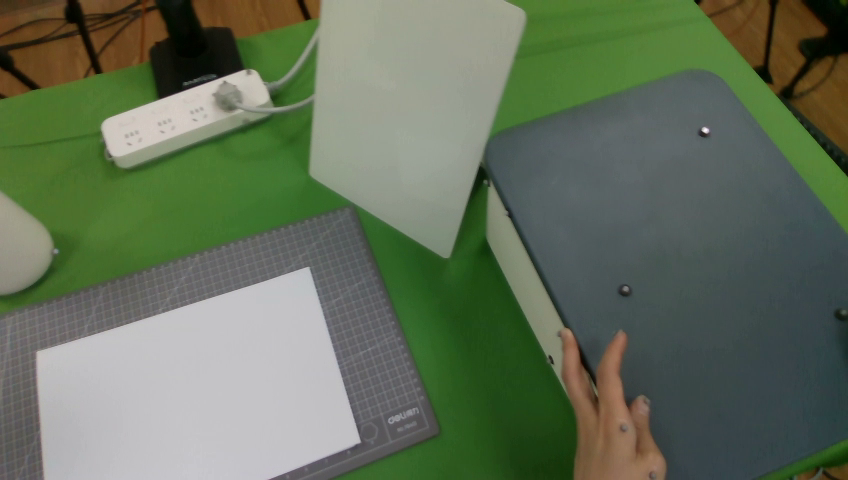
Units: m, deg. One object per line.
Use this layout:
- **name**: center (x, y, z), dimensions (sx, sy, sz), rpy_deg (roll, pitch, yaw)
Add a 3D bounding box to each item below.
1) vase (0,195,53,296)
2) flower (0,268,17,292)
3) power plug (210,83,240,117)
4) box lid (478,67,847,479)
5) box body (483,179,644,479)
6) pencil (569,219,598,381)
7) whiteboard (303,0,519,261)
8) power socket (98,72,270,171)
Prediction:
- **vase**: center (-0.476, -0.020, 0.620), dimensions (0.098, 0.201, 0.097), rpy_deg (-1, 60, 1)
- **flower**: center (-0.477, -0.077, 0.558), dimensions (0.038, 0.365, 0.043), rpy_deg (-31, 47, -24)
- **power plug**: center (-0.252, -0.168, 0.773), dimensions (0.035, 0.053, 0.072), rpy_deg (-15, 63, -8)
- **box lid**: center (0.229, 0.005, 0.532), dimensions (0.263, 0.015, 0.368), rpy_deg (-20, 63, -8)
- **box body**: center (0.238, 0.046, 0.607), dimensions (0.254, 0.161, 0.360), rpy_deg (-20, 62, -11)
- **pencil**: center (0.179, 0.062, 0.679), dimensions (0.012, 0.012, 0.192), rpy_deg (-1, 63, 0)
- **whiteboard**: center (0.001, -0.168, 0.680), dimensions (0.216, 0.307, 0.143), rpy_deg (32, 46, 17)
- **power socket**: center (-0.311, -0.158, 0.794), dimensions (0.227, 0.033, 0.071), rpy_deg (-24, 64, -14)
